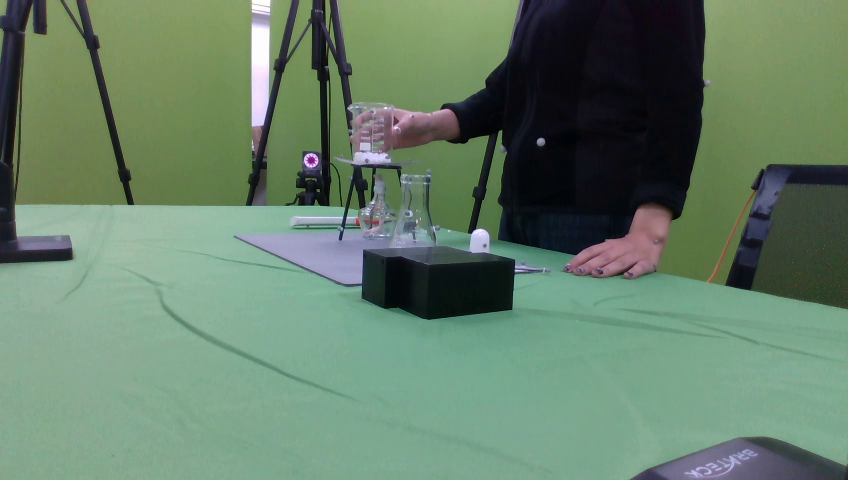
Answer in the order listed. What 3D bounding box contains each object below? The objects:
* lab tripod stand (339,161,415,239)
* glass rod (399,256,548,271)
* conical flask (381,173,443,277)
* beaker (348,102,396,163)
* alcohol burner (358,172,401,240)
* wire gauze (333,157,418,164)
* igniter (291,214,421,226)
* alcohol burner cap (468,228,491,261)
[{"bbox_3d":[-0.082,-0.070,1.060,0.148,0.131,0.148,4,7,0],"label":"lab tripod stand"},{"bbox_3d":[0.064,0.030,0.806,0.199,0.008,0.008,4,7,10],"label":"glass rod"},{"bbox_3d":[-0.012,-0.020,0.732,0.075,0.122,0.075,2,7,0],"label":"conical flask"},{"bbox_3d":[-0.090,-0.185,1.043,0.084,0.100,0.074,2,7,4],"label":"beaker"},{"bbox_3d":[-0.078,-0.061,1.065,0.078,0.119,0.078,4,9,0],"label":"alcohol burner"},{"bbox_3d":[-0.081,-0.136,1.051,0.122,0.011,0.124,-1,7,-29],"label":"wire gauze"},{"bbox_3d":[-0.135,-0.041,1.250,0.278,0.025,0.057,-1,-3,-28],"label":"igniter"},{"bbox_3d":[0.082,0.006,0.878,0.034,0.048,0.034,3,6,0],"label":"alcohol burner cap"}]
